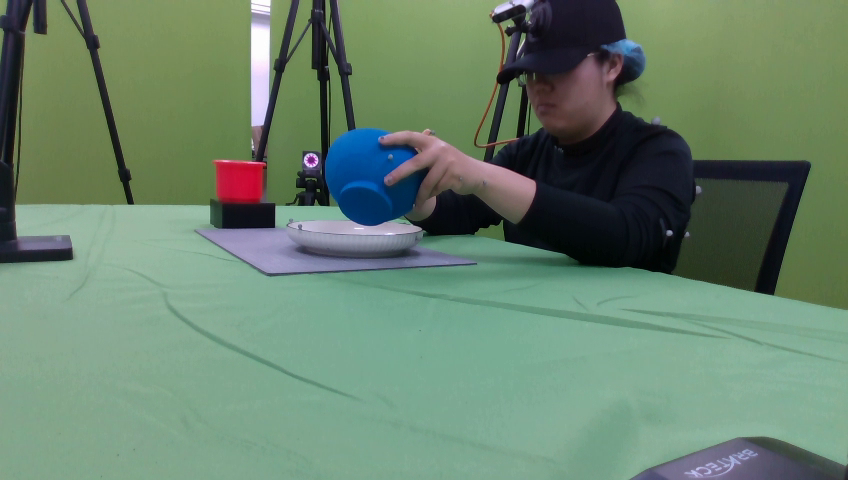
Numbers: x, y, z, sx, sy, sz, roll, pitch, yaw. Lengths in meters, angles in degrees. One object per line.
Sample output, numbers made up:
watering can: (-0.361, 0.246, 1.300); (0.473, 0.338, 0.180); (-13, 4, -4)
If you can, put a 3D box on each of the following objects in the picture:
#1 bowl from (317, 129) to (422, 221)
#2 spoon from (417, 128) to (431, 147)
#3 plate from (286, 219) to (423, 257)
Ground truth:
bowl: (-0.068, -0.078, 0.841); (0.151, 0.076, 0.151); (-13, -24, -5)
spoon: (-0.036, -0.112, 0.893); (0.041, 0.022, 0.194); (8, 41, 29)
plate: (-0.105, -0.003, 0.922); (0.208, 0.039, 0.207); (3, 7, 0)
